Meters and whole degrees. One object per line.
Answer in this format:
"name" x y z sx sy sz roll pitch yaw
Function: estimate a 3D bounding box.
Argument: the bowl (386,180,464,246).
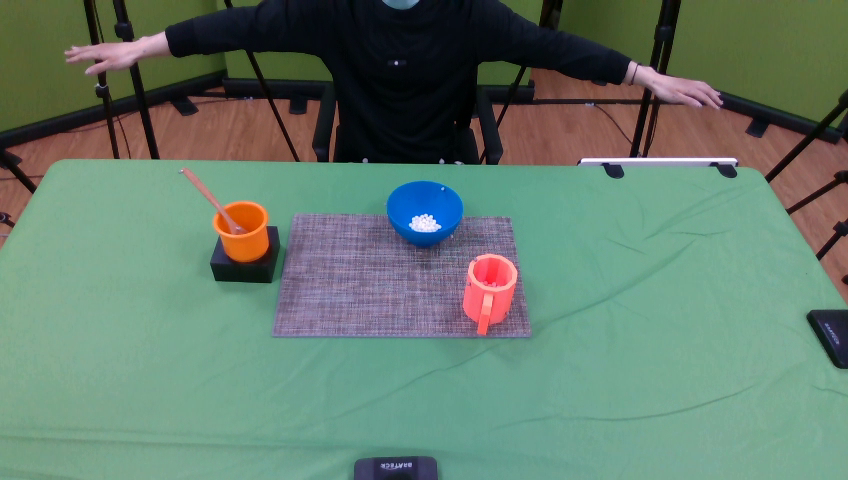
"bowl" 0.000 -0.041 1.191 0.151 0.077 0.150 2 46 -2

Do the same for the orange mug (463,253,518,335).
"orange mug" 0.113 0.098 1.050 0.083 0.101 0.125 10 42 6

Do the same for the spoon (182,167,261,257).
"spoon" -0.354 -0.049 1.061 0.041 0.194 0.021 -44 19 -31
